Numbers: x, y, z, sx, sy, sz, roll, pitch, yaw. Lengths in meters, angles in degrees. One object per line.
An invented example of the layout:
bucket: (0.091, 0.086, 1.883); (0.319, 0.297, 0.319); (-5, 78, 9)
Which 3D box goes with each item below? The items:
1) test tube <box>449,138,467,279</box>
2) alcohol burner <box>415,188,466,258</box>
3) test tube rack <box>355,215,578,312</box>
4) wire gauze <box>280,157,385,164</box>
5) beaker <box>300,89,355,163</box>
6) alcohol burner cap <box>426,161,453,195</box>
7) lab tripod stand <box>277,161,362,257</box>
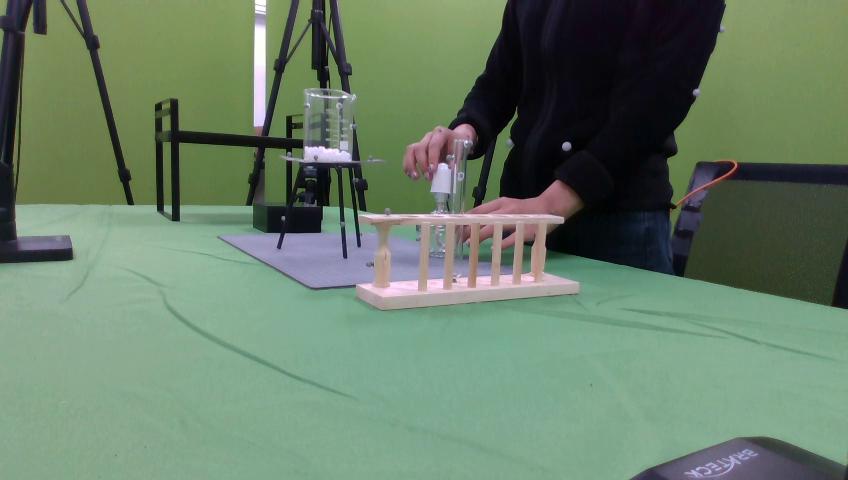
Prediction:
test tube: (0.035, -0.033, 0.645); (0.017, 0.150, 0.017); (3, 4, 0)
alcohol burner: (0.025, -0.033, 0.902); (0.078, 0.119, 0.078); (2, 5, 0)
test tube rack: (0.053, 0.018, 0.641); (0.243, 0.085, 0.066); (-1, 8, -29)
wire gauze: (-0.134, -0.113, 0.875); (0.122, 0.011, 0.124); (-1, 6, -30)
beaker: (-0.136, -0.161, 0.867); (0.083, 0.100, 0.074); (5, 8, 24)
alcohol burner cap: (0.026, -0.094, 0.902); (0.034, 0.048, 0.034); (20, 7, -2)
lab tripod stand: (-0.143, -0.049, 0.884); (0.148, 0.131, 0.148); (1, 9, 0)
